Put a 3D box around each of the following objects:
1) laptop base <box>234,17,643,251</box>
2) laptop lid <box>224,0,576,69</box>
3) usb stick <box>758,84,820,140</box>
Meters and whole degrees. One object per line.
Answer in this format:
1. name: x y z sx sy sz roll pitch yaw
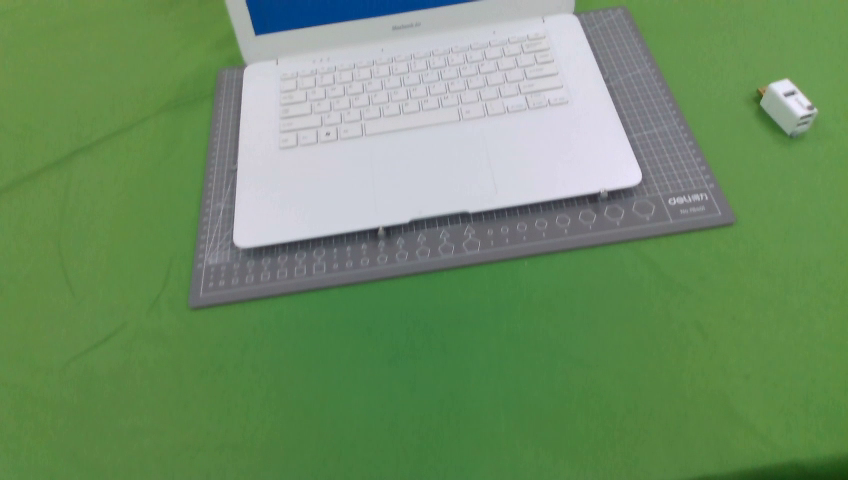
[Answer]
1. laptop base: 0.000 -0.108 0.578 0.354 0.023 0.233 -9 58 0
2. laptop lid: -0.029 -0.296 0.573 0.357 0.244 0.013 -10 37 1
3. usb stick: 0.325 -0.120 0.545 0.021 0.027 0.058 -18 53 -4
